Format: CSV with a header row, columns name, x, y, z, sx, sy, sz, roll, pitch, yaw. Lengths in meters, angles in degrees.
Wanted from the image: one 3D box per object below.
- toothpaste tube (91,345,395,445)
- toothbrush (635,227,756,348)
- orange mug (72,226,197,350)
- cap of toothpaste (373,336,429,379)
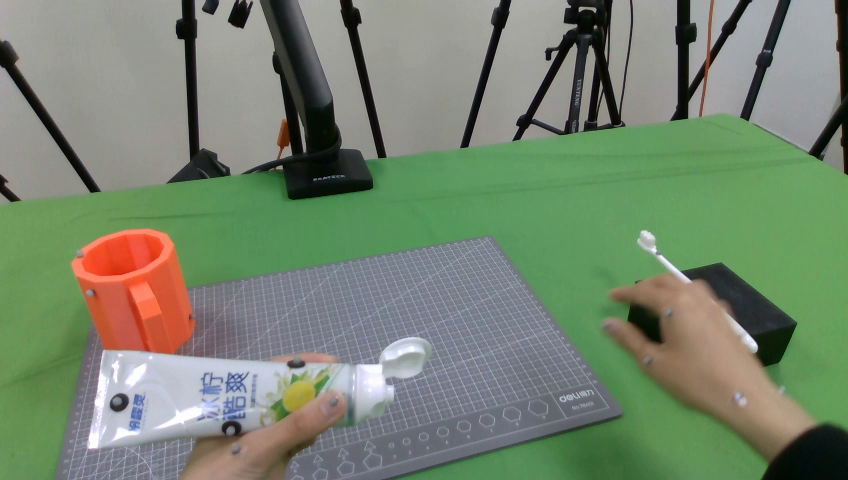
name,x,y,z,sx,sy,sz,roll,pitch,yaw
toothpaste tube,-0.099,0.085,0.349,0.165,0.035,0.054,1,61,-10
toothbrush,0.252,0.039,0.575,0.014,0.017,0.180,-4,33,-14
orange mug,-0.261,0.056,0.563,0.083,0.101,0.125,-22,35,-29
cap of toothpaste,-0.013,0.075,0.378,0.037,0.037,0.011,-11,41,-15
